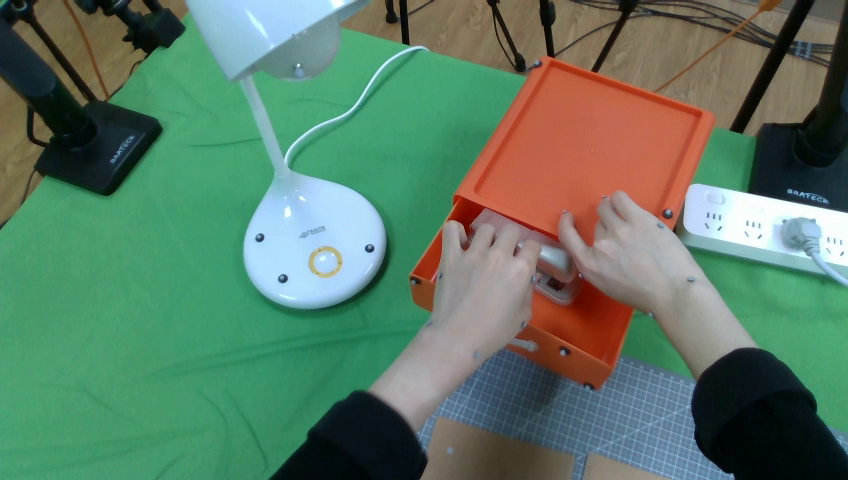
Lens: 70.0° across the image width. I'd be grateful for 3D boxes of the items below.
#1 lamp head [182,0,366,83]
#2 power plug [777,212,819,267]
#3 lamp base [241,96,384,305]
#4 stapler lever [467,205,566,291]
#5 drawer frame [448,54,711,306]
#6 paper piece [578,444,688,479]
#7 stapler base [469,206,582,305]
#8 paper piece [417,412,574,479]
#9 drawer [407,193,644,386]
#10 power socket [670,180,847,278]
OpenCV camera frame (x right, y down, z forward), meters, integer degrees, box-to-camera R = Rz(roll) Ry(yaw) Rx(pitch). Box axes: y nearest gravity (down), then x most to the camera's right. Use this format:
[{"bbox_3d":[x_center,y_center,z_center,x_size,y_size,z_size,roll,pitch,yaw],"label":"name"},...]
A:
[{"bbox_3d":[-0.103,-0.171,0.358,0.112,0.112,0.123,-38,104,-18],"label":"lamp head"},{"bbox_3d":[0.386,0.002,0.635,0.035,0.053,0.072,23,64,14],"label":"power plug"},{"bbox_3d":[-0.135,-0.047,0.622,0.160,0.182,0.177,-31,61,-15],"label":"lamp base"},{"bbox_3d":[0.087,0.006,0.586,0.117,0.040,0.027,41,93,25],"label":"stapler lever"},{"bbox_3d":[0.160,-0.070,0.630,0.201,0.083,0.212,24,63,15],"label":"drawer frame"},{"bbox_3d":[0.193,0.267,0.530,0.135,0.004,0.135,17,63,12],"label":"paper piece"},{"bbox_3d":[0.097,0.011,0.603,0.129,0.024,0.041,41,94,31],"label":"stapler base"},{"bbox_3d":[0.057,0.239,0.551,0.135,0.009,0.137,13,62,12],"label":"paper piece"},{"bbox_3d":[0.118,0.005,0.592,0.193,0.074,0.211,24,64,15],"label":"drawer"},{"bbox_3d":[0.386,-0.013,0.669,0.226,0.033,0.072,13,63,9],"label":"power socket"}]
